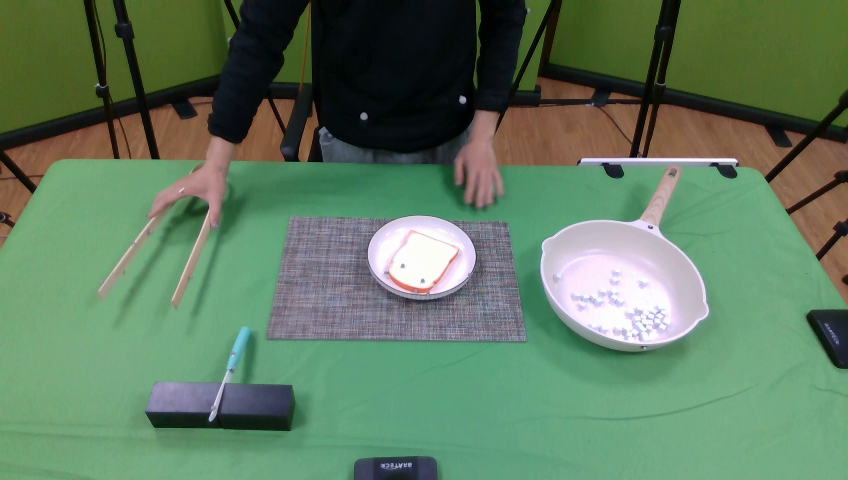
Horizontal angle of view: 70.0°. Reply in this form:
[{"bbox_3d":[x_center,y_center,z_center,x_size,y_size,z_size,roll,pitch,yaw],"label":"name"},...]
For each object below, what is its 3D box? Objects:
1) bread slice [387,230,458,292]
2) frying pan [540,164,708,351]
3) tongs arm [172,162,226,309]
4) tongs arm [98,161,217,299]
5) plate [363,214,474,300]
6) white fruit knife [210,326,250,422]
[{"bbox_3d":[-0.007,0.043,1.142,0.107,0.018,0.134,18,46,14],"label":"bread slice"},{"bbox_3d":[0.407,0.012,1.160,0.306,0.103,0.486,26,58,18],"label":"frying pan"},{"bbox_3d":[-0.422,-0.024,1.147,0.028,0.028,0.385,-1,43,-1],"label":"tongs arm"},{"bbox_3d":[-0.491,-0.033,1.147,0.051,0.026,0.382,8,43,3],"label":"tongs arm"},{"bbox_3d":[-0.010,0.036,1.146,0.208,0.039,0.206,2,46,-2],"label":"plate"},{"bbox_3d":[-0.301,0.201,0.942,0.016,0.027,0.206,3,32,-2],"label":"white fruit knife"}]
